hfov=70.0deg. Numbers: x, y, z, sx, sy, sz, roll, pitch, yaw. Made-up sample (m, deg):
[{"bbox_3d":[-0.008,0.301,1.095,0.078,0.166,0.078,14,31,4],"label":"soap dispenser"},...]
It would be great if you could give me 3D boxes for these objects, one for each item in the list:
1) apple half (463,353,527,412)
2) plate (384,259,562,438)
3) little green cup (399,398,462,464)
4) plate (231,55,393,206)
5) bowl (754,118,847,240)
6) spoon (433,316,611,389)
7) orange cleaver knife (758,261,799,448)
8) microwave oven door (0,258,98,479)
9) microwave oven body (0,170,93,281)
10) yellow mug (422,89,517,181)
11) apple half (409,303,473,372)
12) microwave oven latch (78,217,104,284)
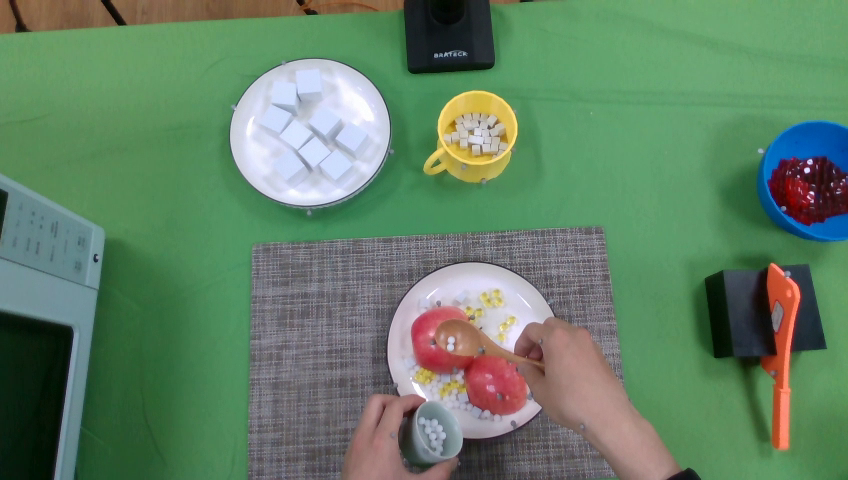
[{"bbox_3d":[0.083,0.163,0.706,0.081,0.033,0.081,0,73,1],"label":"apple half"},{"bbox_3d":[0.057,0.127,0.721,0.209,0.038,0.208,0,77,0],"label":"plate"},{"bbox_3d":[0.005,0.200,0.628,0.062,0.039,0.061,20,39,-16],"label":"little green cup"},{"bbox_3d":[-0.144,-0.141,0.792,0.208,0.039,0.206,0,76,1],"label":"plate"},{"bbox_3d":[0.473,-0.065,0.748,0.151,0.077,0.150,0,77,1],"label":"bowl"},{"bbox_3d":[0.095,0.119,0.621,0.192,0.022,0.041,15,93,32],"label":"spoon"},{"bbox_3d":[0.404,0.131,0.699,0.012,0.077,0.212,-2,100,4],"label":"orange cleaver knife"},{"bbox_3d":[-0.417,0.200,0.587,0.039,0.245,0.354,0,76,1],"label":"microwave oven door"},{"bbox_3d":[-0.562,0.159,0.602,0.326,0.261,0.439,0,77,0],"label":"microwave oven body"},{"bbox_3d":[0.052,-0.125,0.772,0.131,0.064,0.099,-34,78,-7],"label":"yellow mug"},{"bbox_3d":[0.019,0.113,0.709,0.074,0.053,0.080,-5,77,2],"label":"apple half"},{"bbox_3d":[-0.412,0.012,0.737,0.030,0.029,0.079,2,77,1],"label":"microwave oven latch"}]
